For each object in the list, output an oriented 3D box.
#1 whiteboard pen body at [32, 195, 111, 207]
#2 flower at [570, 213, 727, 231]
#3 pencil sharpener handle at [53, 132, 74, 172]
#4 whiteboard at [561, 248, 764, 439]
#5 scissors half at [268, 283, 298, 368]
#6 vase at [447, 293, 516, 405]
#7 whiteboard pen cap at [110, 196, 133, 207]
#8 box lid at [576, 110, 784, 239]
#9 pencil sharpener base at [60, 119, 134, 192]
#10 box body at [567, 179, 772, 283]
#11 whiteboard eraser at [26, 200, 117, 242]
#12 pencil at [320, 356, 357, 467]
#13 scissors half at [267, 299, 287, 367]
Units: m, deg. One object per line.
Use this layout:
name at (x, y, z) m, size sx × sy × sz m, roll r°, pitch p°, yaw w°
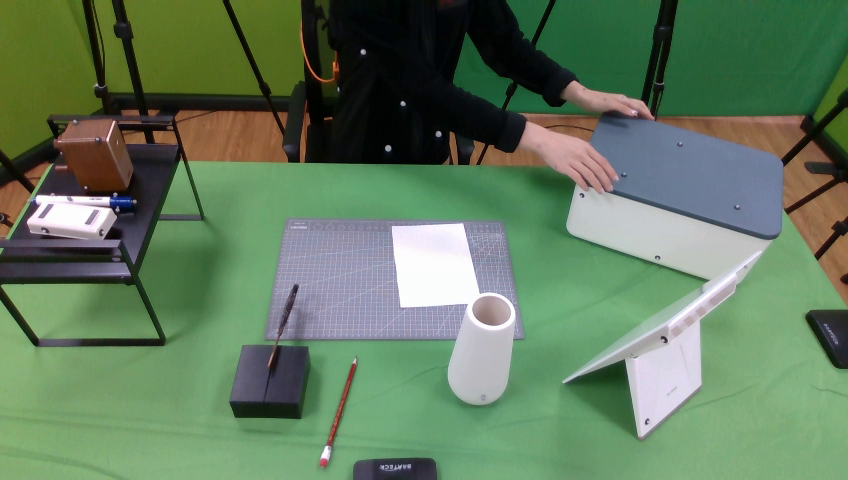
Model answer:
whiteboard pen body at (-0.543, -0.061, 0.961) m, size 0.141 × 0.017 × 0.017 m, roll 1°, pitch 46°, yaw -10°
flower at (0.479, -0.039, 1.270) m, size 0.362 × 0.038 × 0.044 m, roll -1°, pitch 15°, yaw -13°
pencil sharpener handle at (-0.578, -0.138, 0.961) m, size 0.031 × 0.068 × 0.036 m, roll -4°, pitch 34°, yaw -7°
whiteboard at (0.386, 0.176, 0.905) m, size 0.217 × 0.306 × 0.143 m, roll -26°, pitch 72°, yaw -27°
scissors half at (-0.230, 0.135, 0.986) m, size 0.013 × 0.040 × 0.174 m, roll 19°, pitch 43°, yaw -11°
vase at (0.091, 0.169, 0.921) m, size 0.098 × 0.201 × 0.097 m, roll 3°, pitch 47°, yaw -3°
whiteboard pen cap at (-0.486, -0.061, 0.972) m, size 0.033 × 0.018 × 0.018 m, roll 0°, pitch 46°, yaw -9°
box lid at (0.498, -0.137, 1.167) m, size 0.371 × 0.015 × 0.262 m, roll 19°, pitch 48°, yaw 14°
pencil sharpener base at (-0.528, -0.135, 0.979) m, size 0.077 × 0.107 × 0.061 m, roll -4°, pitch 47°, yaw -7°
box body at (0.493, -0.086, 1.220) m, size 0.363 × 0.161 × 0.253 m, roll 19°, pitch 48°, yaw 14°
whiteboard eraser at (-0.532, -0.026, 0.919) m, size 0.113 × 0.042 × 0.055 m, roll 7°, pitch 45°, yaw 3°
pencil at (-0.130, 0.261, 0.946) m, size 0.012 × 0.012 × 0.193 m, roll 10°, pitch 45°, yaw 5°
scissors half at (-0.239, 0.150, 0.997) m, size 0.013 × 0.040 × 0.174 m, roll 23°, pitch 24°, yaw -13°
